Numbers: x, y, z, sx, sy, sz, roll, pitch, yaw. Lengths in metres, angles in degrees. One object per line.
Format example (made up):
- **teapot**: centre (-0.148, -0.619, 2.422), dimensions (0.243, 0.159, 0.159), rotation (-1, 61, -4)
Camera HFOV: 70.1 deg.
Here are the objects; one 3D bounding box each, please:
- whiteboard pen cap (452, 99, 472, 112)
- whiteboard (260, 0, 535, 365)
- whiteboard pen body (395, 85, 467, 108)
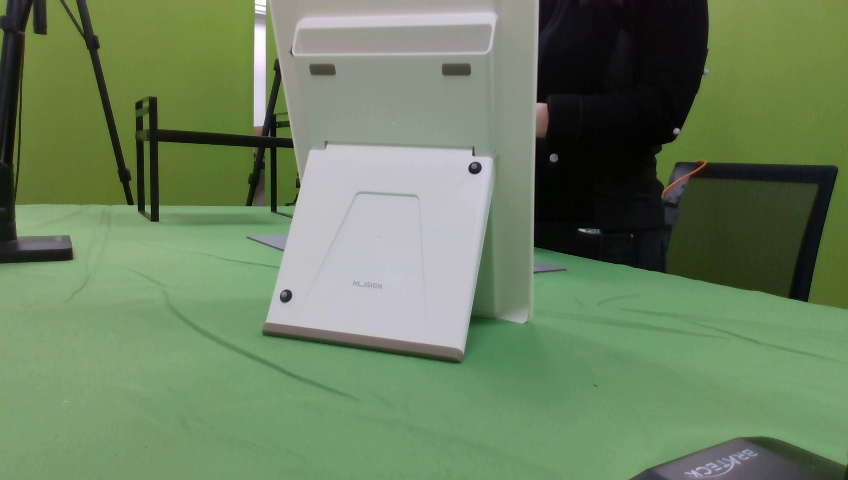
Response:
- **whiteboard pen cap**: centre (0.062, -0.222, 0.997), dimensions (0.033, 0.018, 0.018), rotation (18, 14, 24)
- **whiteboard**: centre (-0.037, -0.041, 0.457), dimensions (0.216, 0.305, 0.144), rotation (5, 28, 19)
- **whiteboard pen body**: centre (0.012, -0.241, 1.021), dimensions (0.140, 0.017, 0.017), rotation (21, 15, 25)
